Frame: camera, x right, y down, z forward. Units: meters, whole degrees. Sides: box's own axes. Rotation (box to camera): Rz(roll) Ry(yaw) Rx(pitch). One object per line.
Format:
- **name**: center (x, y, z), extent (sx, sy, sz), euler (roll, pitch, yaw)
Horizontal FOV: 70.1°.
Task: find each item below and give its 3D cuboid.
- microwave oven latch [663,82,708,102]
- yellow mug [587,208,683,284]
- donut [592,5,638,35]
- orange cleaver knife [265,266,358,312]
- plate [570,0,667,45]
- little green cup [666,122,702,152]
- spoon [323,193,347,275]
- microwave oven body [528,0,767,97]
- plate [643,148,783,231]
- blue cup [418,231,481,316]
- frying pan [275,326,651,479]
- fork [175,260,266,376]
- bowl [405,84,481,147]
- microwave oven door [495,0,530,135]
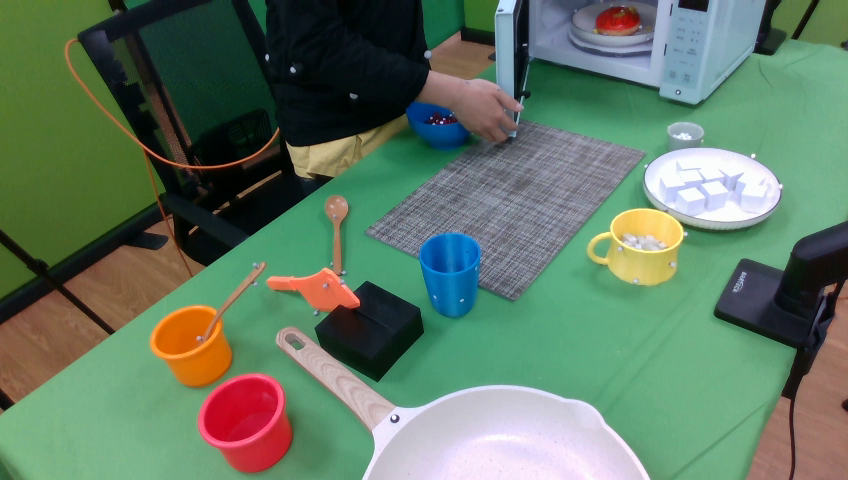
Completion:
- **microwave oven latch**: center (0.518, -0.298, 1.202), extent (0.030, 0.029, 0.078), euler (-37, 48, -29)
- **yellow mug**: center (0.305, 0.009, 0.884), extent (0.131, 0.064, 0.099), euler (-4, 41, 5)
- **donut**: center (0.427, -0.491, 1.350), extent (0.099, 0.048, 0.098), euler (-7, 39, 6)
- **orange cleaver knife**: center (-0.164, 0.073, 0.864), extent (0.210, 0.077, 0.012), euler (-6, 31, 50)
- **plate**: center (0.437, -0.491, 1.364), extent (0.209, 0.038, 0.208), euler (-6, 42, 6)
- **little green cup**: center (0.471, -0.184, 1.102), extent (0.061, 0.039, 0.061), euler (-5, 41, 5)
- **spoon**: center (-0.148, -0.014, 1.008), extent (0.042, 0.022, 0.192), euler (0, 40, -8)
- **microwave oven body**: center (0.473, -0.516, 1.313), extent (0.438, 0.261, 0.327), euler (26, 51, 34)
- **plate**: center (0.464, -0.080, 0.986), extent (0.207, 0.039, 0.206), euler (-4, 40, 4)
- **blue cup**: center (0.040, 0.053, 0.843), extent (0.092, 0.100, 0.092), euler (-4, 43, 4)
- **frying pan**: center (0.003, 0.229, 0.641), extent (0.484, 0.103, 0.308), euler (34, 54, 28)
- **fork**: center (-0.268, 0.103, 0.792), extent (0.207, 0.019, 0.028), euler (-51, 40, 16)
- **bowl**: center (0.041, -0.238, 1.197), extent (0.151, 0.077, 0.150), euler (-5, 42, 5)
- **microwave oven door**: center (0.183, -0.410, 1.225), extent (0.039, 0.245, 0.355), euler (4, 42, 13)
